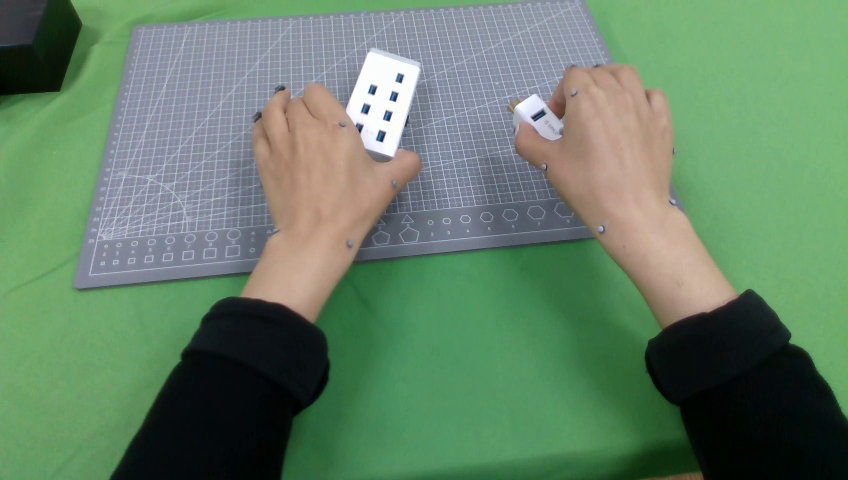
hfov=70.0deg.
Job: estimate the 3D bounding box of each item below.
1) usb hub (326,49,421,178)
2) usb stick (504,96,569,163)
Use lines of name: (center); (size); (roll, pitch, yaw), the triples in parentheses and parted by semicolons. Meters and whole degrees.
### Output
usb hub: (-0.039, -0.108, 0.500); (0.049, 0.025, 0.124); (19, 50, -6)
usb stick: (0.084, -0.090, 0.466); (0.021, 0.027, 0.058); (-35, 68, -9)
